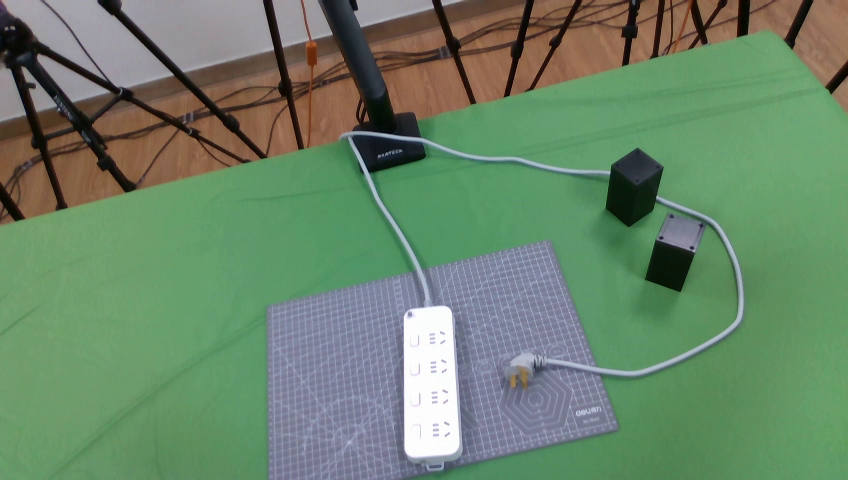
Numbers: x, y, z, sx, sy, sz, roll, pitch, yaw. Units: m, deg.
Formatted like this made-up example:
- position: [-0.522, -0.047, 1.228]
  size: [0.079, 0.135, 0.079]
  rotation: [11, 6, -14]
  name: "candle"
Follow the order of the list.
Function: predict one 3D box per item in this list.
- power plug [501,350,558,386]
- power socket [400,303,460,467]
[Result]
- position: [0.137, 0.166, 0.792]
  size: [0.072, 0.035, 0.052]
  rotation: [-11, 34, 16]
  name: "power plug"
- position: [0.006, 0.184, 0.811]
  size: [0.072, 0.033, 0.224]
  rotation: [-6, 54, 5]
  name: "power socket"
